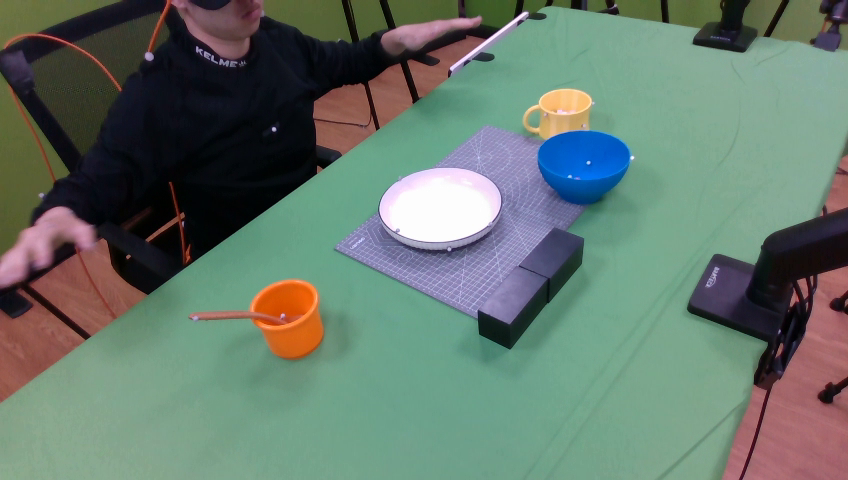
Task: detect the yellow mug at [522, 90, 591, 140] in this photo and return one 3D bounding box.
[{"bbox_3d":[0.257,-0.239,1.177,0.131,0.064,0.099,-6,41,3],"label":"yellow mug"}]

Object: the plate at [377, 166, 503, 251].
[{"bbox_3d":[0.027,-0.050,1.007,0.209,0.038,0.208,-4,41,4],"label":"plate"}]

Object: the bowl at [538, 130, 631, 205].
[{"bbox_3d":[0.265,-0.113,1.014,0.151,0.077,0.150,-4,40,4],"label":"bowl"}]

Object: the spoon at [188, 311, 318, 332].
[{"bbox_3d":[-0.216,0.102,0.783,0.041,0.195,0.021,26,95,39],"label":"spoon"}]
